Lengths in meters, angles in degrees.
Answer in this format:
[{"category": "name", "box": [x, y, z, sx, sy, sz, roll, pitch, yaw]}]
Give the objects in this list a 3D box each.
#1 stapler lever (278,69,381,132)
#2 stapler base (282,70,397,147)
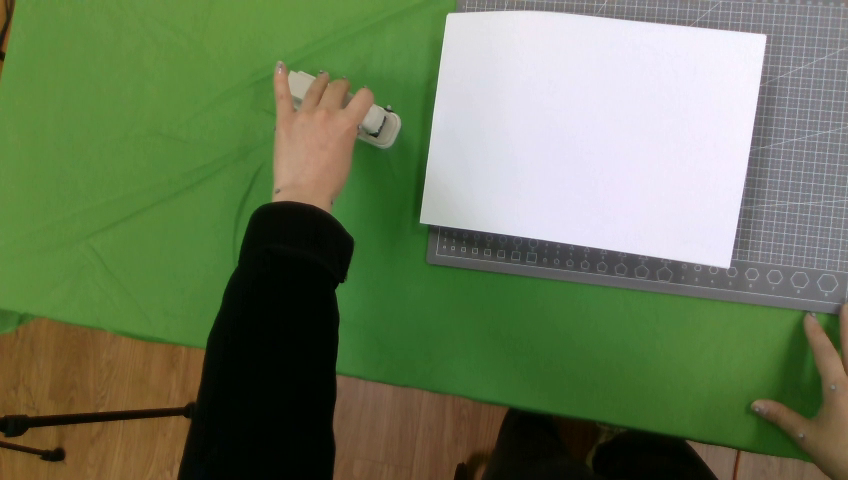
[{"category": "stapler lever", "box": [-0.099, -0.144, 0.618, 0.117, 0.040, 0.027, 26, 89, 10]}, {"category": "stapler base", "box": [-0.092, -0.142, 0.642, 0.130, 0.024, 0.041, 26, 89, 11]}]
